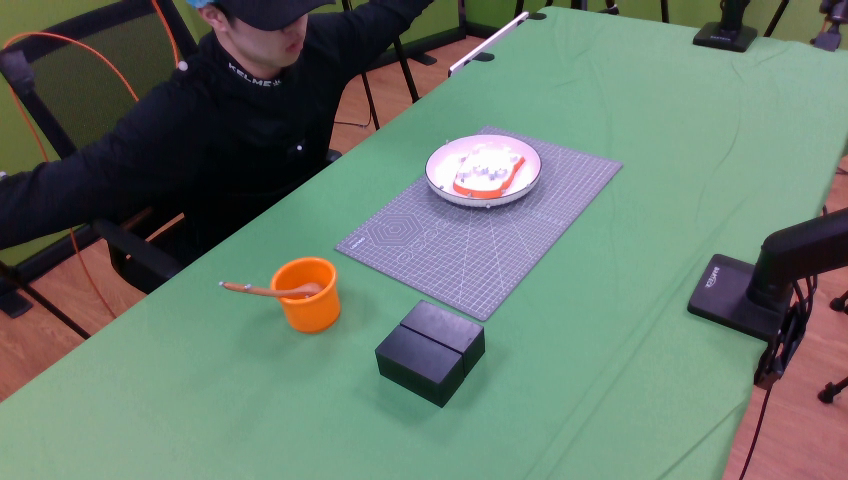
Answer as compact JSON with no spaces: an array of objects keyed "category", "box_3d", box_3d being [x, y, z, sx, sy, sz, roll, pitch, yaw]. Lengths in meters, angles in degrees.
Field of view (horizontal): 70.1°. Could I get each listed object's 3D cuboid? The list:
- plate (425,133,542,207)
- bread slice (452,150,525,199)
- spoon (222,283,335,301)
[{"category":"plate","box_3d":[0.106,-0.121,1.079,0.209,0.038,0.208,-4,41,4]},{"category":"bread slice","box_3d":[0.112,-0.119,1.079,0.104,0.019,0.131,11,43,21]},{"category":"spoon","box_3d":[-0.188,0.070,0.810,0.041,0.021,0.195,29,12,33]}]
